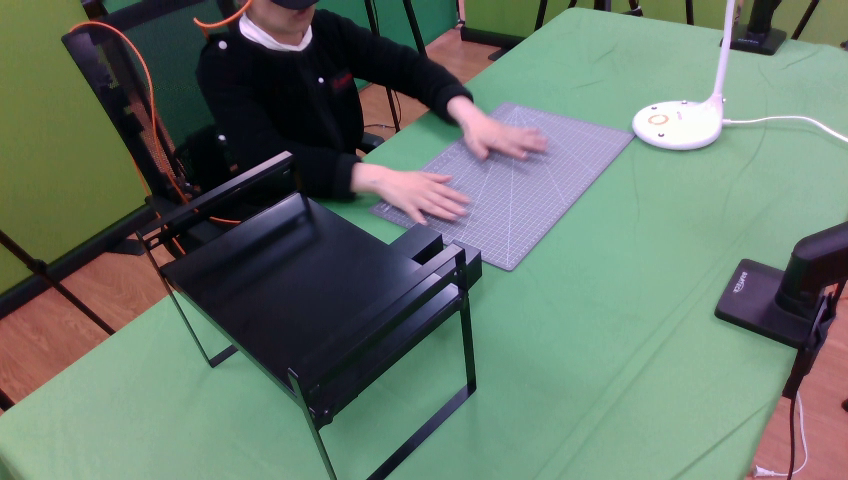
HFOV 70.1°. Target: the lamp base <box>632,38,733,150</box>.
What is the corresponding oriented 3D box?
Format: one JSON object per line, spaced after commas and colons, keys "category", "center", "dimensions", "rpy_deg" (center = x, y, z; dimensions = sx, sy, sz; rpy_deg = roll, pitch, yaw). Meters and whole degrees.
{"category": "lamp base", "center": [0.486, -0.280, 1.108], "dimensions": [0.179, 0.181, 0.159], "rpy_deg": [-5, 41, -1]}
